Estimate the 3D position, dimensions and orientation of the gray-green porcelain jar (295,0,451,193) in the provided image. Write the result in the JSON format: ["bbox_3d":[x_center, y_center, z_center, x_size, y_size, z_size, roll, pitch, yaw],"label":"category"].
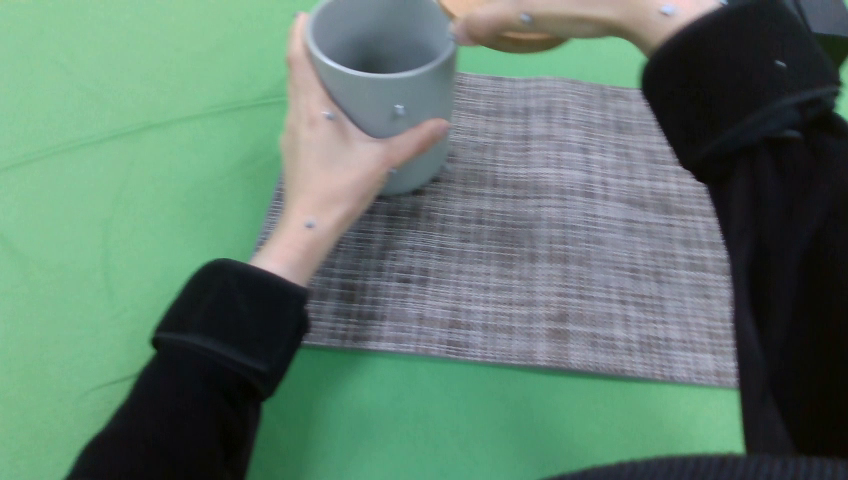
[{"bbox_3d":[-0.036,-0.107,0.455,0.106,0.127,0.105,2,53,-2],"label":"gray-green porcelain jar"}]

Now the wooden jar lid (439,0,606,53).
[{"bbox_3d":[0.061,-0.157,0.387,0.108,0.021,0.107,1,58,-1],"label":"wooden jar lid"}]
